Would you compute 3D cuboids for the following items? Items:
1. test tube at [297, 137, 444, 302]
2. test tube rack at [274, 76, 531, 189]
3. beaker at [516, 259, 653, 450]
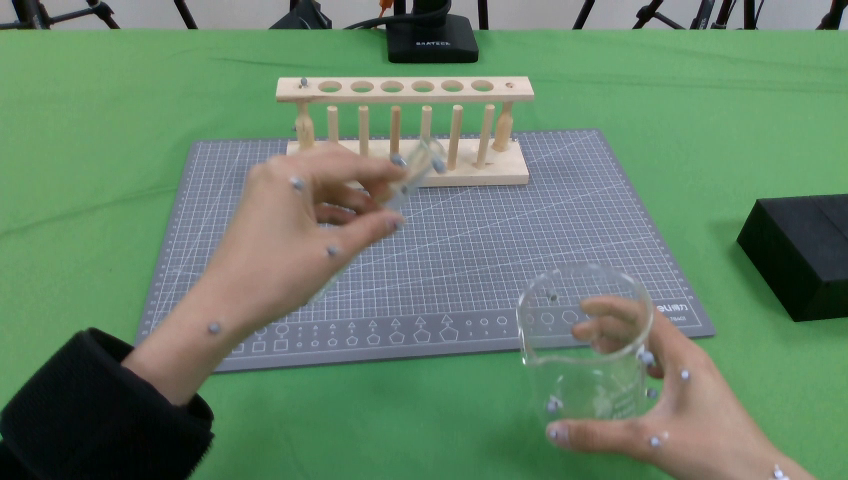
[{"bbox_3d":[-0.038,-0.007,0.371,0.017,0.150,0.017,28,36,-23],"label":"test tube"},{"bbox_3d":[-0.019,-0.106,0.596,0.243,0.086,0.066,-2,44,-6],"label":"test tube rack"},{"bbox_3d":[0.095,0.075,0.366,0.084,0.101,0.073,-35,44,-21],"label":"beaker"}]
